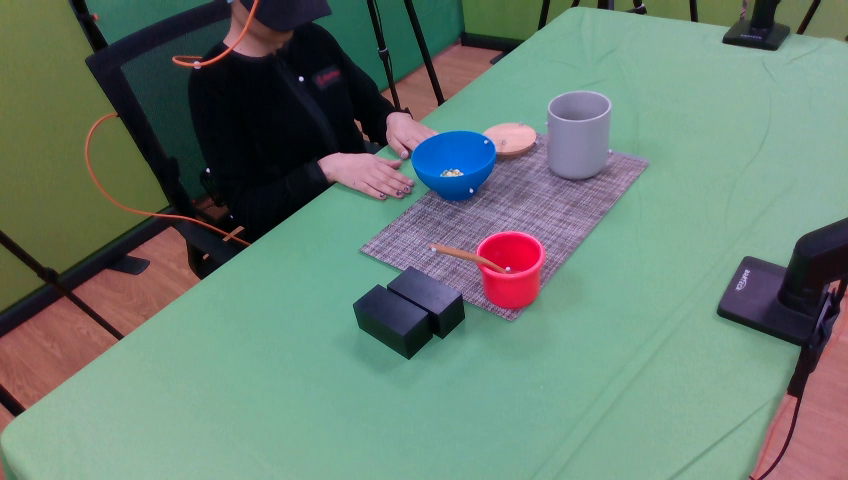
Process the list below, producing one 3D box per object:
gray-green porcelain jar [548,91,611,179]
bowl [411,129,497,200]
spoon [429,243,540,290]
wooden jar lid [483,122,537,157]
[{"bbox_3d":[0.269,-0.179,1.056,0.106,0.127,0.105,-6,40,5],"label":"gray-green porcelain jar"},{"bbox_3d":[0.056,-0.124,1.070,0.151,0.077,0.150,-5,40,5],"label":"bowl"},{"bbox_3d":[0.085,0.033,0.826,0.195,0.021,0.041,23,27,-33],"label":"spoon"},{"bbox_3d":[0.165,-0.195,1.177,0.108,0.021,0.108,-4,40,4],"label":"wooden jar lid"}]
